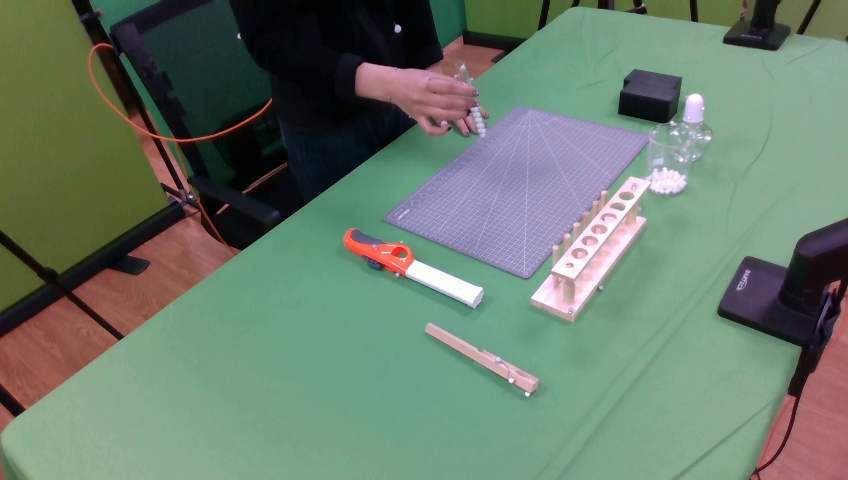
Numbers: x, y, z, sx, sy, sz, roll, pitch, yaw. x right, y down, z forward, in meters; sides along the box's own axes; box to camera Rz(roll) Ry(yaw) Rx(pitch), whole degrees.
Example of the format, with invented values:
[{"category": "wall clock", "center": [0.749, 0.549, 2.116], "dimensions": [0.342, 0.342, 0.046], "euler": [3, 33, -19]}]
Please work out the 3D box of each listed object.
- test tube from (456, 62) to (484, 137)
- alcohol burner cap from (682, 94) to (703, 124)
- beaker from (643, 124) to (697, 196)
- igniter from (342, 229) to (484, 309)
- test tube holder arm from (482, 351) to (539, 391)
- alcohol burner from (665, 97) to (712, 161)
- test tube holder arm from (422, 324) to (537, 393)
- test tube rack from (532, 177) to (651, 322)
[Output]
[{"category": "test tube", "center": [0.077, -0.227, 0.991], "dimensions": [0.017, 0.151, 0.017], "euler": [-10, 49, 13]}, {"category": "alcohol burner cap", "center": [0.460, -0.225, 1.033], "dimensions": [0.034, 0.048, 0.033], "euler": [-8, 34, 6]}, {"category": "beaker", "center": [0.407, -0.132, 1.001], "dimensions": [0.084, 0.101, 0.073], "euler": [-20, 42, -13]}, {"category": "igniter", "center": [-0.027, 0.039, 0.936], "dimensions": [0.274, 0.025, 0.057], "euler": [23, 59, 32]}, {"category": "test tube holder arm", "center": [0.106, 0.166, 0.769], "dimensions": [0.087, 0.015, 0.010], "euler": [24, 15, 34]}, {"category": "alcohol burner", "center": [0.465, -0.198, 1.057], "dimensions": [0.078, 0.119, 0.077], "euler": [-4, 41, 4]}, {"category": "test tube holder arm", "center": [0.068, 0.152, 0.789], "dimensions": [0.177, 0.015, 0.013], "euler": [23, 15, 32]}, {"category": "test tube rack", "center": [0.247, 0.002, 0.883], "dimensions": [0.066, 0.085, 0.243], "euler": [22, 49, 32]}]
